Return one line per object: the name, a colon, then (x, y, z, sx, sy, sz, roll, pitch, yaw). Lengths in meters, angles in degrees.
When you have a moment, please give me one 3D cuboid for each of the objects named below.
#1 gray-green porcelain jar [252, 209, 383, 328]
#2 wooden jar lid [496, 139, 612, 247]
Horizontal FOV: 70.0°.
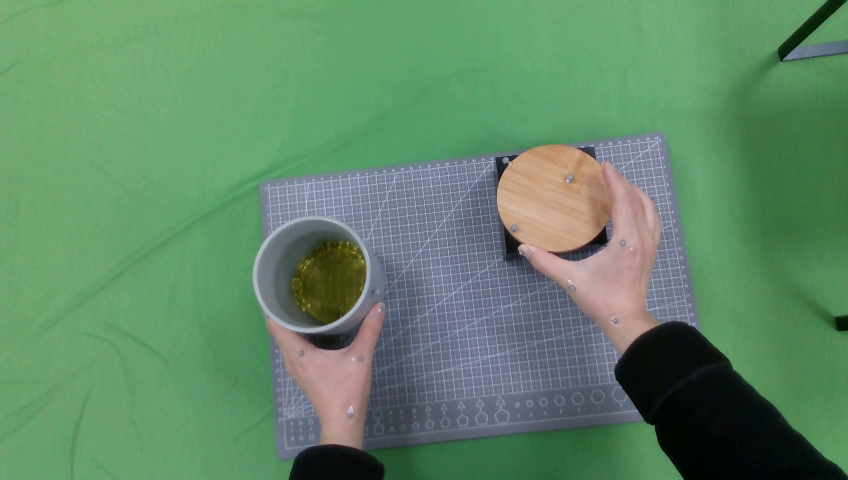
gray-green porcelain jar: (-0.096, 0.033, 0.592, 0.106, 0.127, 0.105, 0, 81, 3)
wooden jar lid: (0.123, -0.043, 0.579, 0.108, 0.021, 0.108, -2, 74, 7)
